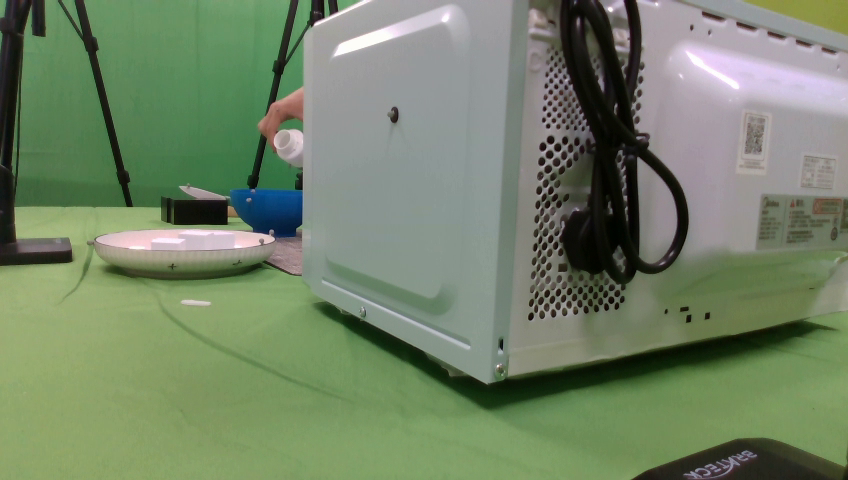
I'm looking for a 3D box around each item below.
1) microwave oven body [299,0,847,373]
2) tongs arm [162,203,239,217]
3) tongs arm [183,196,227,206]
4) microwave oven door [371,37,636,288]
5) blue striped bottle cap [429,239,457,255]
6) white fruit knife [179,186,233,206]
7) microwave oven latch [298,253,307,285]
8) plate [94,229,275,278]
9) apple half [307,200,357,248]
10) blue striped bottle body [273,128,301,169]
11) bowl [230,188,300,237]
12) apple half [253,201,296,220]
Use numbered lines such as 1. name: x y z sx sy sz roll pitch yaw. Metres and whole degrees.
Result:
1. microwave oven body: 0.152 -0.055 0.542 0.444 0.260 0.324 -2 7 -33
2. tongs arm: -0.396 -0.067 1.399 0.389 0.028 0.028 1 5 -15
3. tongs arm: -0.404 -0.081 1.479 0.385 0.026 0.050 3 8 -2
4. microwave oven door: 0.109 -0.080 0.686 0.358 0.243 0.039 -2 9 -33
5. blue striped bottle cap: 0.029 0.011 0.946 0.044 0.020 0.044 1 5 0
6. white fruit knife: -0.413 -0.081 1.270 0.208 0.027 0.016 17 13 -41
7. microwave oven latch: -0.081 0.027 0.582 0.079 0.029 0.030 -2 7 -32
8. plate: -0.291 0.016 0.750 0.208 0.039 0.207 2 7 0
9. apple half: -0.135 -0.024 0.941 0.053 0.074 0.081 13 8 39
10. blue striped bottle body: -0.237 -0.171 1.160 0.063 0.063 0.121 6 -13 26
11. bowl: -0.264 -0.048 1.065 0.151 0.077 0.151 3 8 0
12. apple half: -0.264 -0.053 1.067 0.081 0.033 0.081 1 8 0
